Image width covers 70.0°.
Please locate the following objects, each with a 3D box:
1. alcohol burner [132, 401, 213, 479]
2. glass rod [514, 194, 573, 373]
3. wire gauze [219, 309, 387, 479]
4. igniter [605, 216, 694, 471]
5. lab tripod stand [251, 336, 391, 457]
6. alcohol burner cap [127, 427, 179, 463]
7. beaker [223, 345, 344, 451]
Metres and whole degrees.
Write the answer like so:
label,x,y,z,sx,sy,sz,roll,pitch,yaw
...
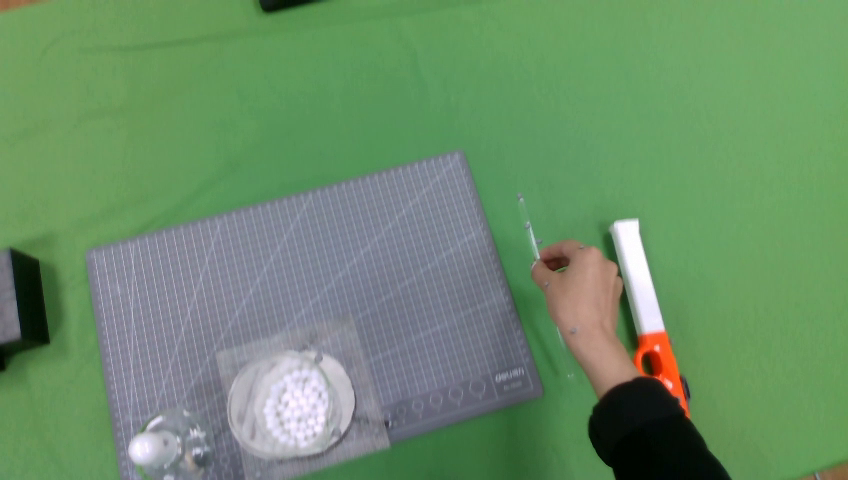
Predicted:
label,x,y,z,sx,sy,sz,roll,pitch,yaw
alcohol burner,-0.249,0.195,0.585,0.078,0.120,0.077,0,72,0
glass rod,0.127,0.047,0.642,0.008,0.008,0.199,-18,92,-6
wire gauze,-0.108,0.133,0.525,0.125,0.011,0.120,-17,74,-3
igniter,0.246,0.107,0.664,0.057,0.025,0.275,-6,75,-14
lab tripod stand,-0.108,0.155,0.588,0.148,0.132,0.147,0,74,1
alcohol burner cap,-0.248,0.185,0.550,0.034,0.048,0.033,-1,71,2
beaker,-0.101,0.129,0.477,0.083,0.101,0.074,40,77,11
